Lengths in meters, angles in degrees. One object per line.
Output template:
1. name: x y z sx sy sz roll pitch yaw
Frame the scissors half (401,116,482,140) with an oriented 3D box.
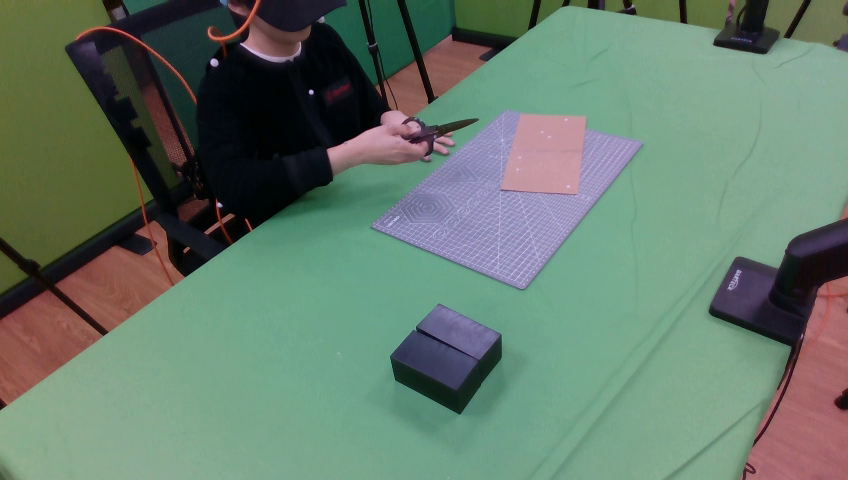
1. scissors half: 0.027 -0.196 1.031 0.174 0.040 0.013 2 31 39

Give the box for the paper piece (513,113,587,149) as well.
1. paper piece: 0.251 -0.215 1.196 0.135 0.004 0.135 6 42 14

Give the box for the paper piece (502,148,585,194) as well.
1. paper piece: 0.219 -0.128 1.101 0.135 0.009 0.138 2 42 17

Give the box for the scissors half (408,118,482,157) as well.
1. scissors half: 0.035 -0.179 1.038 0.174 0.040 0.013 -18 22 47
